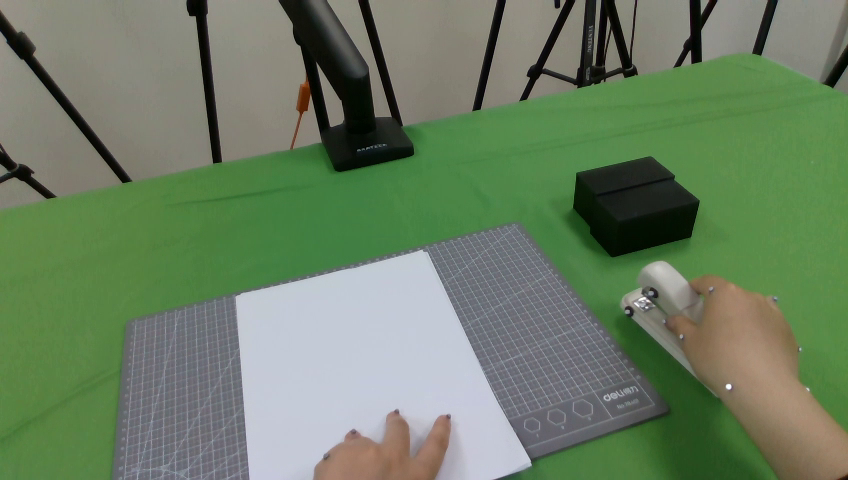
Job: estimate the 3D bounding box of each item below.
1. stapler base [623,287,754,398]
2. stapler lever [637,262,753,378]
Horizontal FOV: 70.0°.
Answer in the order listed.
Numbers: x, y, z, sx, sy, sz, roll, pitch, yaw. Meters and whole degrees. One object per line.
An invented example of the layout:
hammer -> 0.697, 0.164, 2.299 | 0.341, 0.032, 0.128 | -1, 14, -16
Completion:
stapler base -> 0.236, 0.082, 0.549 | 0.041, 0.025, 0.129 | -25, 47, -14
stapler lever -> 0.235, 0.065, 0.531 | 0.027, 0.040, 0.116 | -25, 47, -14
